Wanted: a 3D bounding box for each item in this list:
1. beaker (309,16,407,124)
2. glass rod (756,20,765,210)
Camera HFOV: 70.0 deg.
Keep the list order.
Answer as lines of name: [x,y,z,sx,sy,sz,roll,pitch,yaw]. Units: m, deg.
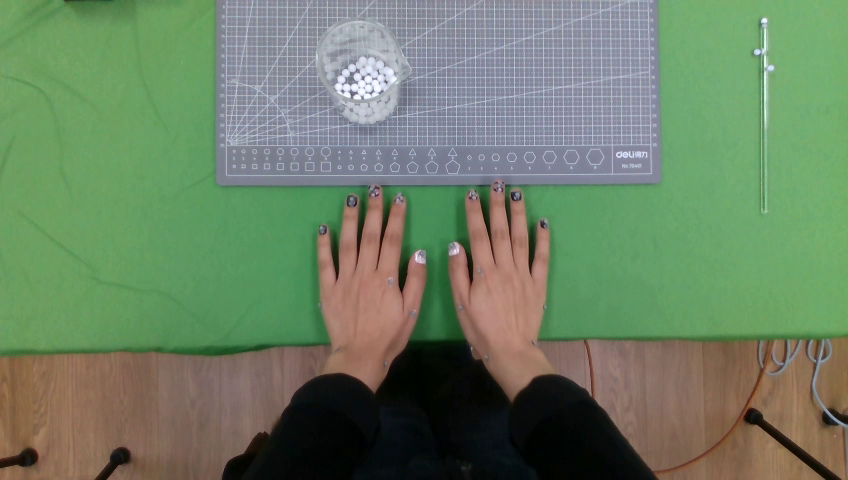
beaker: [-0.058,-0.152,0.566,0.084,0.100,0.074,8,88,-2]
glass rod: [0.350,-0.131,0.630,0.008,0.008,0.199,1,88,-3]
